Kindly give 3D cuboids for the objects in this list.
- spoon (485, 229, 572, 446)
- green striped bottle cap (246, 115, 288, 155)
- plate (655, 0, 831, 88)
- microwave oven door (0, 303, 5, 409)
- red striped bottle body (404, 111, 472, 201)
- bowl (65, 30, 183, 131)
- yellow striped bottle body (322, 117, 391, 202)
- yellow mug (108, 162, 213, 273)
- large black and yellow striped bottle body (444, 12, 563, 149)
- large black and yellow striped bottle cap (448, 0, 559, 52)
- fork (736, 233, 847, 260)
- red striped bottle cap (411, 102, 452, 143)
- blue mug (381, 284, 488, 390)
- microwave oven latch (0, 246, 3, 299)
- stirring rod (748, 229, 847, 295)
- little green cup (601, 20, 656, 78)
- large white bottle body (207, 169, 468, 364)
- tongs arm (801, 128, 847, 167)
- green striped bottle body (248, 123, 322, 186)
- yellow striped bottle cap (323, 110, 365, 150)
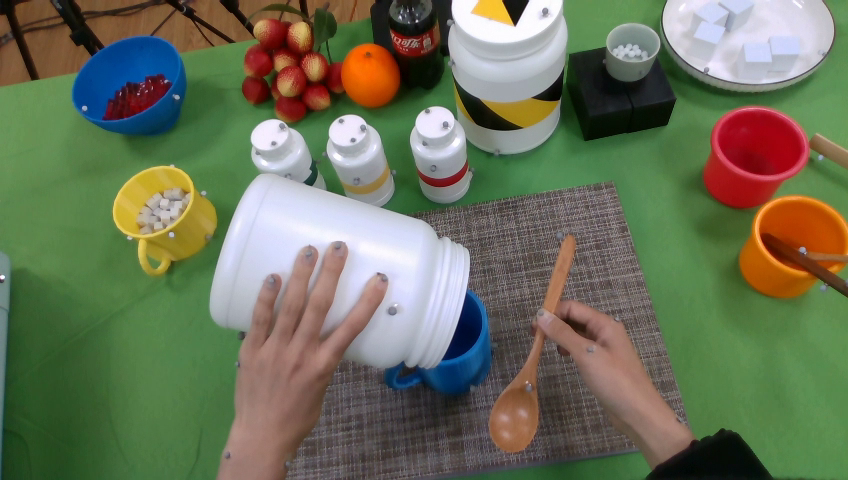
[{"bbox_3d":[0.097,0.083,0.525,0.041,0.022,0.193,18,90,14],"label":"spoon"},{"bbox_3d":[-0.174,-0.116,0.672,0.044,0.020,0.044,-2,62,5],"label":"green striped bottle cap"},{"bbox_3d":[0.403,-0.274,0.782,0.209,0.038,0.207,-3,64,6],"label":"plate"},{"bbox_3d":[-0.478,0.177,0.533,0.039,0.246,0.352,-18,62,-1],"label":"microwave oven door"},{"bbox_3d":[0.016,-0.102,0.700,0.063,0.121,0.062,-6,60,11],"label":"red striped bottle body"},{"bbox_3d":[-0.391,-0.202,0.826,0.151,0.077,0.150,-3,63,6],"label":"bowl"},{"bbox_3d":[-0.080,-0.097,0.709,0.063,0.121,0.062,-3,62,7],"label":"yellow striped bottle body"},{"bbox_3d":[-0.321,-0.023,0.733,0.100,0.064,0.130,0,64,7],"label":"yellow mug"},{"bbox_3d":[0.092,-0.208,0.706,0.130,0.185,0.129,-3,63,6],"label":"large black and yellow striped bottle body"},{"bbox_3d":[0.082,-0.246,0.629,0.115,0.019,0.114,-4,64,9],"label":"large black and yellow striped bottle cap"},{"bbox_3d":[0.393,0.015,0.574,0.028,0.019,0.206,-45,22,-14],"label":"fork"},{"bbox_3d":[0.008,-0.128,0.653,0.044,0.018,0.044,-1,61,3],"label":"red striped bottle cap"},{"bbox_3d":[0.008,0.105,0.599,0.116,0.107,0.081,-35,63,-11],"label":"blue mug"},{"bbox_3d":[-0.525,0.038,0.723,0.030,0.030,0.078,-16,63,-1],"label":"microwave oven latch"},{"bbox_3d":[0.364,0.019,0.583,0.014,0.006,0.175,-7,20,1],"label":"stirring rod"},{"bbox_3d":[0.241,-0.226,0.720,0.061,0.039,0.061,-2,61,4],"label":"little green cup"},{"bbox_3d":[-0.067,0.028,0.502,0.185,0.131,0.129,17,65,-9],"label":"large white bottle body"},{"bbox_3d":[0.588,-0.021,0.631,0.050,0.027,0.381,-41,66,-18],"label":"tongs arm"},{"bbox_3d":[-0.166,-0.093,0.718,0.063,0.120,0.062,-3,63,6],"label":"green striped bottle body"},{"bbox_3d":[-0.087,-0.120,0.662,0.044,0.019,0.044,-1,59,2],"label":"yellow striped bottle cap"}]
